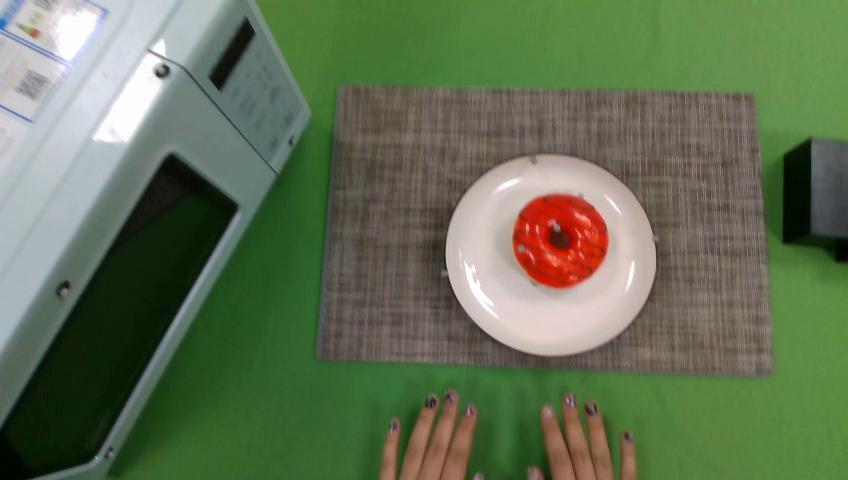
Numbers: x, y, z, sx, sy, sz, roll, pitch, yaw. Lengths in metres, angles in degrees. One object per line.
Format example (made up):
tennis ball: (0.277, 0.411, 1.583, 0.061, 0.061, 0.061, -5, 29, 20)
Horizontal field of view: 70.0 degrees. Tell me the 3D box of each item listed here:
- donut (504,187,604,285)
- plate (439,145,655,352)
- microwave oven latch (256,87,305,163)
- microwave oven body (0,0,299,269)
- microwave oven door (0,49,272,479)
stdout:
donut: (0.128, -0.005, 0.598, 0.099, 0.048, 0.098, 0, 81, -2)
plate: (0.120, 0.009, 0.607, 0.209, 0.038, 0.208, 0, 80, 1)
microwave oven latch: (-0.151, -0.121, 0.620, 0.030, 0.029, 0.079, 26, 82, 5)
microwave oven body: (-0.365, -0.047, 0.512, 0.325, 0.261, 0.440, 26, 82, 5)
microwave oven door: (-0.253, 0.053, 0.488, 0.039, 0.244, 0.355, 26, 81, 6)
